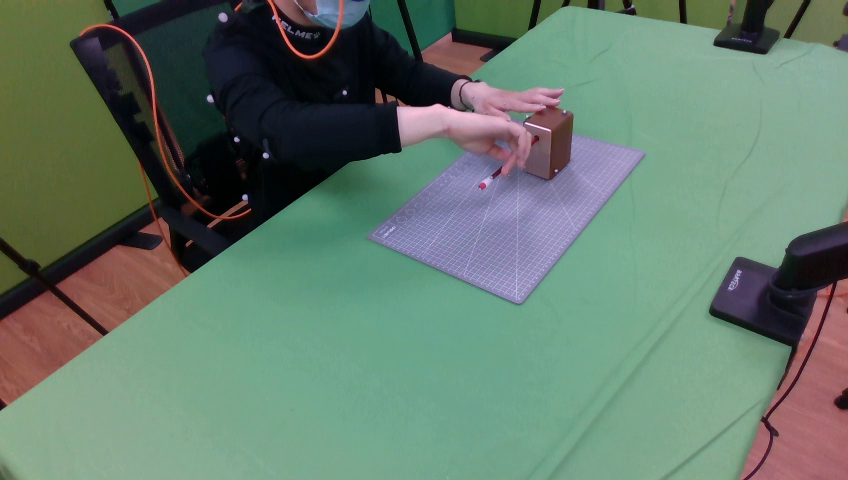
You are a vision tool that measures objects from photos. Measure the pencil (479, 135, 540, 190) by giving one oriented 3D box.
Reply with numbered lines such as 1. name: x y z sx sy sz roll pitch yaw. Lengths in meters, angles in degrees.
1. pencil: 0.148 -0.136 0.994 0.012 0.012 0.194 25 50 31

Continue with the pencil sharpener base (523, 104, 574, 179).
1. pencil sharpener base: 0.221 -0.175 1.071 0.061 0.107 0.077 25 50 33

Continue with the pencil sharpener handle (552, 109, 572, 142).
1. pencil sharpener handle: 0.253 -0.211 1.090 0.035 0.068 0.031 22 48 36
